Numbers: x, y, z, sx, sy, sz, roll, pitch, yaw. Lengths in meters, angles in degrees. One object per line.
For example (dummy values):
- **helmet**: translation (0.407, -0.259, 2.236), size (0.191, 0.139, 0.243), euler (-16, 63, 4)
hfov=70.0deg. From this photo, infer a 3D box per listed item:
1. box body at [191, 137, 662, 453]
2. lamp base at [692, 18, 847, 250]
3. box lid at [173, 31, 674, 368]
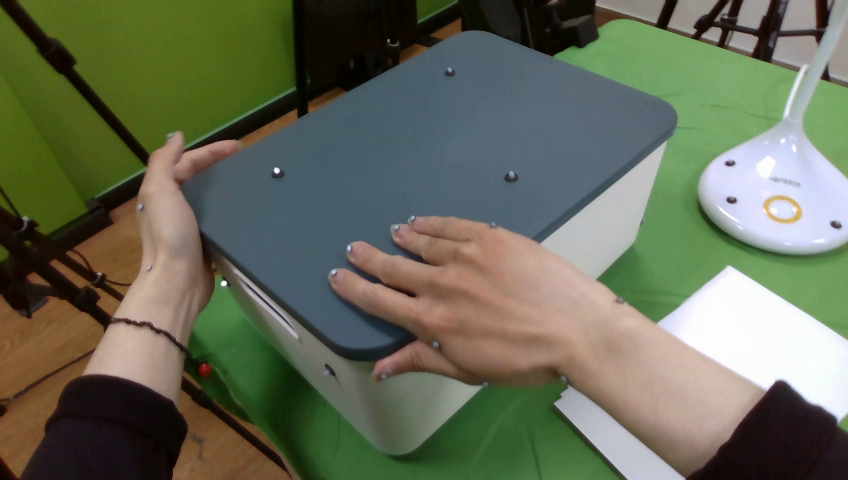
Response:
- **box body**: translation (0.011, -0.020, 0.561), size (0.364, 0.162, 0.251), euler (-37, 53, -27)
- **lamp base**: translation (0.368, -0.111, 0.601), size (0.160, 0.182, 0.178), euler (7, 44, 13)
- **box lid**: translation (0.004, -0.071, 0.507), size (0.371, 0.015, 0.260), euler (-37, 52, -27)
